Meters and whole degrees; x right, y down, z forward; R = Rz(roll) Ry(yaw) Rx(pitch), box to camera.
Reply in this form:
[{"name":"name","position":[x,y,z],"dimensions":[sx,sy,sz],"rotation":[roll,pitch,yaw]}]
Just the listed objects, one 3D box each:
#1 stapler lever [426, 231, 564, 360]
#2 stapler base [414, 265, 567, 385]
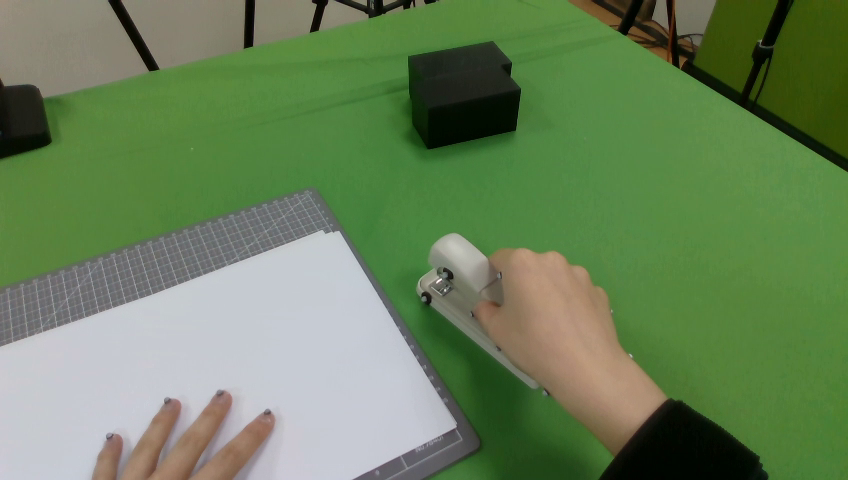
[{"name":"stapler lever","position":[0.049,0.036,0.438],"dimensions":[0.027,0.040,0.117],"rotation":[-36,58,-28]},{"name":"stapler base","position":[0.047,0.053,0.457],"dimensions":[0.041,0.024,0.129],"rotation":[-36,57,-28]}]
